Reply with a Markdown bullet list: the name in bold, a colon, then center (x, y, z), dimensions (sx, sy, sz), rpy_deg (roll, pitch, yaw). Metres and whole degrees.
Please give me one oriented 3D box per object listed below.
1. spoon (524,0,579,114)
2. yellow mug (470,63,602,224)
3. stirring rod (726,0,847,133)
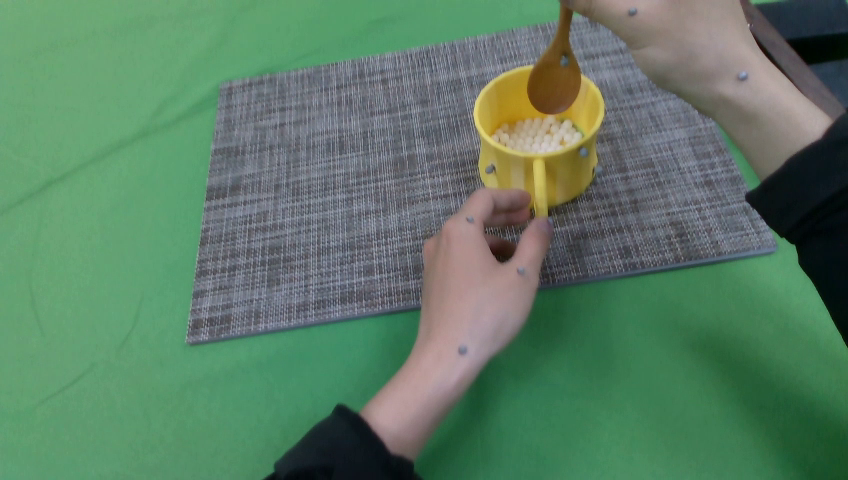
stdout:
- **spoon**: center (0.091, -0.150, 0.398), dimensions (0.041, 0.195, 0.021), rpy_deg (2, 66, 7)
- **yellow mug**: center (0.089, -0.072, 0.482), dimensions (0.100, 0.064, 0.129), rpy_deg (-3, 57, 8)
- **stirring rod**: center (0.281, -0.149, 0.478), dimensions (0.014, 0.006, 0.174), rpy_deg (-36, 51, 30)
